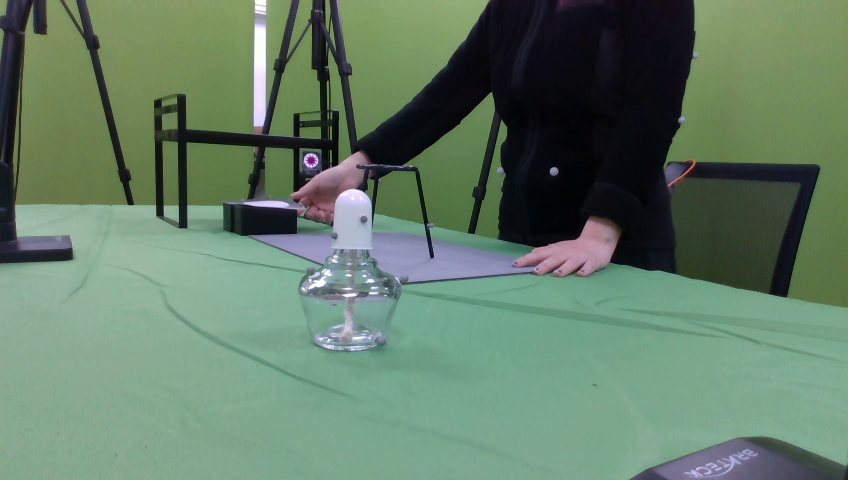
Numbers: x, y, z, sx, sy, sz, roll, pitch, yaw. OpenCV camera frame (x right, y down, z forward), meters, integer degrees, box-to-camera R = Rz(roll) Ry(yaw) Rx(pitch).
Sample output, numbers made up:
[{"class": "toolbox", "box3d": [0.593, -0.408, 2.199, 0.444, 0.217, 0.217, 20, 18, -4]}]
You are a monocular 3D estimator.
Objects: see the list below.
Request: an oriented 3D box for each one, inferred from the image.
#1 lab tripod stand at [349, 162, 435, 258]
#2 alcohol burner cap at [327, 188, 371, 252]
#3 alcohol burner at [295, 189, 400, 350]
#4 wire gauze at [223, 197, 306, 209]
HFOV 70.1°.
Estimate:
[{"class": "lab tripod stand", "box3d": [-0.055, -0.044, 0.863, 0.148, 0.131, 0.148, 3, 9, 0]}, {"class": "alcohol burner cap", "box3d": [-0.055, -0.015, 0.448, 0.034, 0.048, 0.034, 0, 1, 0]}, {"class": "alcohol burner", "box3d": [-0.056, 0.021, 0.453, 0.078, 0.119, 0.078, 4, 6, 0]}, {"class": "wire gauze", "box3d": [-0.291, -0.068, 1.098, 0.126, 0.011, 0.121, -2, 10, -28]}]
